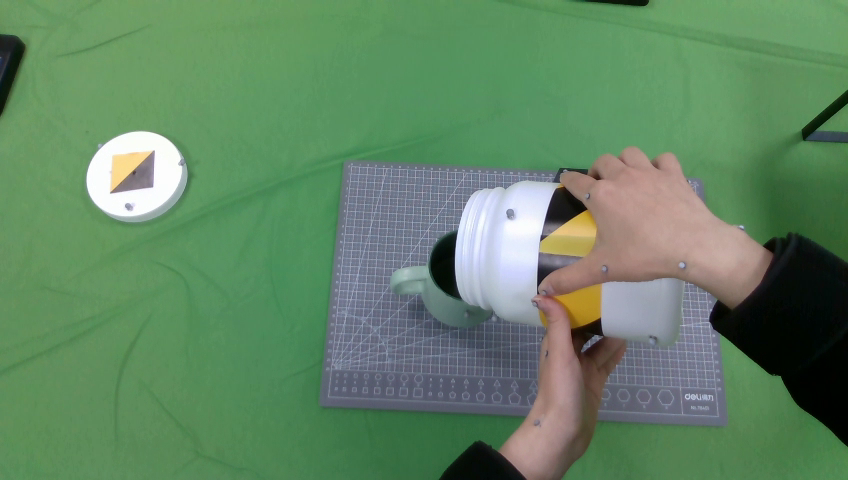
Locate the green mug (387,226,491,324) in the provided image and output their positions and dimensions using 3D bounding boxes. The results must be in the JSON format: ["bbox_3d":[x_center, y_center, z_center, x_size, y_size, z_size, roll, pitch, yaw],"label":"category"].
[{"bbox_3d":[0.023,0.040,0.657,0.125,0.105,0.092,-4,72,-3],"label":"green mug"}]

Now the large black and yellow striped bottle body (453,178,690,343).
[{"bbox_3d":[0.130,0.013,0.532,0.183,0.132,0.130,7,69,23],"label":"large black and yellow striped bottle body"}]

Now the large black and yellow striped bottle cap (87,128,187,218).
[{"bbox_3d":[-0.348,-0.082,0.734,0.115,0.019,0.114,1,70,-2],"label":"large black and yellow striped bottle cap"}]
